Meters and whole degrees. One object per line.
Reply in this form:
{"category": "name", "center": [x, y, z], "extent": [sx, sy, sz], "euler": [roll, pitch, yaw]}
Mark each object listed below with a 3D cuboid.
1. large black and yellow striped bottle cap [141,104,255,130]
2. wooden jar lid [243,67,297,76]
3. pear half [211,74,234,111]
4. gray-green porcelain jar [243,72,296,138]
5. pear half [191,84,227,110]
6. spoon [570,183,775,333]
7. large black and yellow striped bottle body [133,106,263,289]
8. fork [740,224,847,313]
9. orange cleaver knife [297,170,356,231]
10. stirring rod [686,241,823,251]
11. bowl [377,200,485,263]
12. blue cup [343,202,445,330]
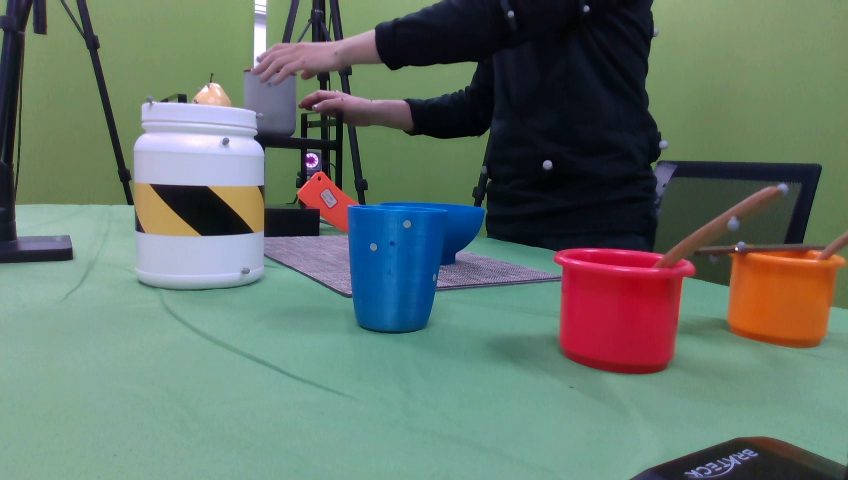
{"category": "large black and yellow striped bottle cap", "center": [-0.241, -0.131, 0.650], "extent": [0.115, 0.019, 0.115], "euler": [3, 8, 0]}
{"category": "wooden jar lid", "center": [-0.319, -0.342, 1.254], "extent": [0.108, 0.020, 0.108], "euler": [3, 8, 0]}
{"category": "pear half", "center": [-0.401, -0.261, 1.162], "extent": [0.076, 0.109, 0.056], "euler": [7, 7, 2]}
{"category": "gray-green porcelain jar", "center": [-0.322, -0.279, 1.263], "extent": [0.106, 0.126, 0.106], "euler": [3, 8, 0]}
{"category": "pear half", "center": [-0.406, -0.248, 1.129], "extent": [0.070, 0.088, 0.031], "euler": [6, 7, 1]}
{"category": "spoon", "center": [0.160, 0.020, 0.413], "extent": [0.042, 0.021, 0.193], "euler": [0, -36, -24]}
{"category": "large black and yellow striped bottle body", "center": [-0.243, -0.048, 0.659], "extent": [0.131, 0.184, 0.130], "euler": [2, 7, 0]}
{"category": "fork", "center": [0.323, 0.013, 0.485], "extent": [0.028, 0.018, 0.207], "euler": [9, -37, -5]}
{"category": "orange cleaver knife", "center": [-0.150, -0.058, 1.171], "extent": [0.212, 0.077, 0.012], "euler": [33, -15, -32]}
{"category": "stirring rod", "center": [0.290, 0.005, 0.525], "extent": [0.177, 0.006, 0.014], "euler": [-1, 5, -26]}
{"category": "bowl", "center": [0.008, -0.012, 0.842], "extent": [0.151, 0.077, 0.151], "euler": [3, 7, 0]}
{"category": "blue cup", "center": [-0.027, 0.021, 0.510], "extent": [0.093, 0.100, 0.092], "euler": [3, 5, 0]}
